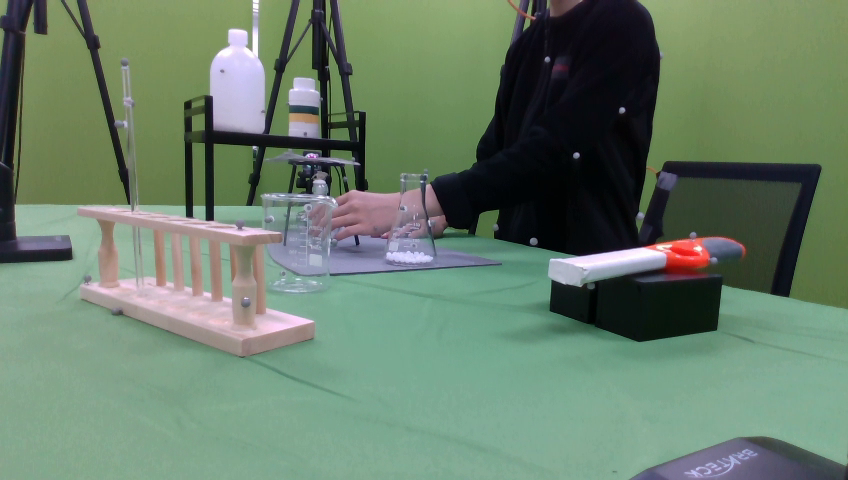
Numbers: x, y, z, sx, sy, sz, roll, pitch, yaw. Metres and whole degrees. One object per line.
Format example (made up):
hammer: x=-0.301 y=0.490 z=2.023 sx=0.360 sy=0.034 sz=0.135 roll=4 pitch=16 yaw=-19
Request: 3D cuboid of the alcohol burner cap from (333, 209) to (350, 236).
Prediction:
alcohol burner cap: x=-0.151 y=-0.033 z=1.116 sx=0.034 sy=0.048 sz=0.034 roll=4 pitch=7 yaw=0

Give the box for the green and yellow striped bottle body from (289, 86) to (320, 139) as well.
green and yellow striped bottle body: x=-0.250 y=-0.272 z=1.261 sx=0.063 sy=0.119 sz=0.063 roll=3 pitch=7 yaw=0

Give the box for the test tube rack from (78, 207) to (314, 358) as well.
test tube rack: x=-0.197 y=0.024 z=0.499 sx=0.241 sy=0.085 sz=0.067 roll=8 pitch=8 yaw=37

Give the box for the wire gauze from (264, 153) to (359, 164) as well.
wire gauze: x=-0.181 y=-0.129 z=0.969 sx=0.126 sy=0.011 sz=0.121 roll=-1 pitch=6 yaw=-27

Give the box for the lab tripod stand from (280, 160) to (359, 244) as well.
lab tripod stand: x=-0.176 y=-0.062 z=0.973 sx=0.148 sy=0.131 sz=0.148 roll=1 pitch=7 yaw=0

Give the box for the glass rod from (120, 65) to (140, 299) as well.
glass rod: x=-0.249 y=-0.047 z=0.513 sx=0.008 sy=0.199 sz=0.008 roll=-1 pitch=4 yaw=0

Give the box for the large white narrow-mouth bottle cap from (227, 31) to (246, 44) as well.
large white narrow-mouth bottle cap: x=-0.361 y=-0.388 z=1.166 sx=0.038 sy=0.024 sz=0.037 roll=1 pitch=7 yaw=0

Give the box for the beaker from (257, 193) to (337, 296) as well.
beaker: x=-0.130 y=0.004 z=0.628 sx=0.084 sy=0.100 sz=0.074 roll=5 pitch=8 yaw=15

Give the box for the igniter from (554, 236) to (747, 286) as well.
igniter: x=0.221 y=0.017 z=0.558 sx=0.278 sy=0.025 sz=0.057 roll=-5 pitch=14 yaw=-39

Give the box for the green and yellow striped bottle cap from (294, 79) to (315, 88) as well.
green and yellow striped bottle cap: x=-0.248 y=-0.323 z=1.256 sx=0.045 sy=0.020 sz=0.045 roll=3 pitch=9 yaw=0

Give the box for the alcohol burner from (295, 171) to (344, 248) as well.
alcohol burner: x=-0.164 y=-0.048 z=0.949 sx=0.078 sy=0.119 sz=0.078 roll=1 pitch=6 yaw=0

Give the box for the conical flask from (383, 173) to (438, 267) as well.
conical flask: x=-0.016 y=-0.029 z=0.808 sx=0.075 sy=0.122 sz=0.075 roll=2 pitch=8 yaw=0

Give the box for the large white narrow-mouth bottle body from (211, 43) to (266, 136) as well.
large white narrow-mouth bottle body: x=-0.361 y=-0.302 z=1.176 sx=0.102 sy=0.194 sz=0.102 roll=1 pitch=7 yaw=0
